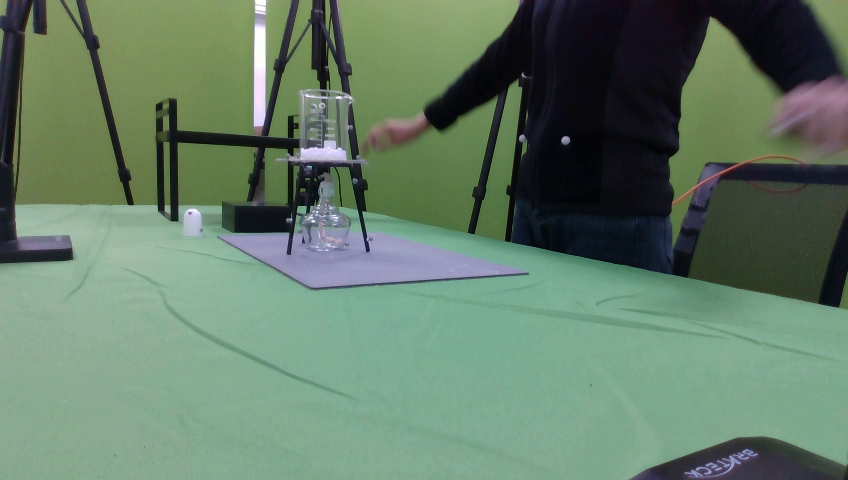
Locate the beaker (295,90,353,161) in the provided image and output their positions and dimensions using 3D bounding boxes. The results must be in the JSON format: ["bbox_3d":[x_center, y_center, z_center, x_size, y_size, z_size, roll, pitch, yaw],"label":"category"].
[{"bbox_3d":[-0.146,-0.164,0.884,0.084,0.100,0.074,1,7,-6],"label":"beaker"}]

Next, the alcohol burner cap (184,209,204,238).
[{"bbox_3d":[-0.390,-0.029,1.025,0.034,0.048,0.034,2,8,0],"label":"alcohol burner cap"}]

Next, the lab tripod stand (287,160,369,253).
[{"bbox_3d":[-0.157,-0.053,0.902,0.148,0.131,0.148,0,7,0],"label":"lab tripod stand"}]

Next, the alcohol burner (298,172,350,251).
[{"bbox_3d":[-0.149,-0.043,0.911,0.078,0.119,0.078,3,5,0],"label":"alcohol burner"}]

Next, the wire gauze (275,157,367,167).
[{"bbox_3d":[-0.148,-0.117,0.895,0.121,0.011,0.125,3,5,-3],"label":"wire gauze"}]
